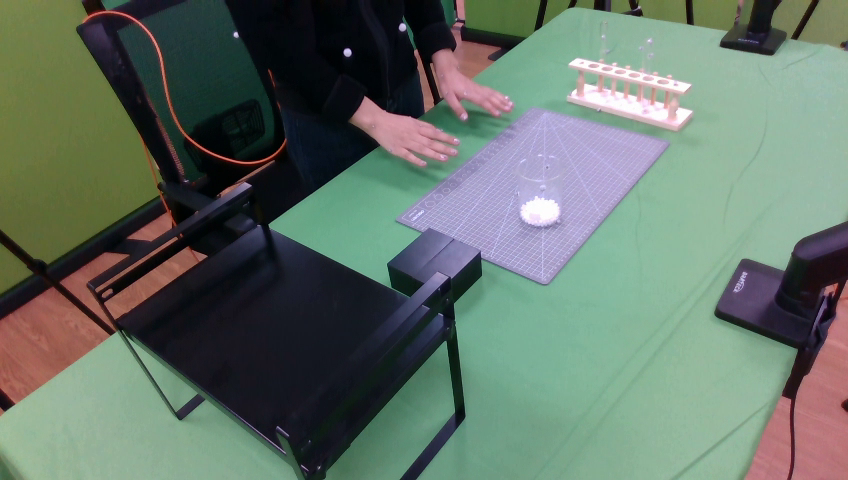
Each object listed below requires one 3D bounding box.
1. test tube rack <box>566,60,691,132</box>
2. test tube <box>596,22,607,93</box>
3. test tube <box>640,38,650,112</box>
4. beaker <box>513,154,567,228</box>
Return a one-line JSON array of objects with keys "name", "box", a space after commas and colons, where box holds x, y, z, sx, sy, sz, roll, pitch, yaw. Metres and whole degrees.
[{"name": "test tube rack", "box": [0.411, -0.299, 1.217, 0.240, 0.085, 0.067, 26, 51, 33]}, {"name": "test tube", "box": [0.363, -0.372, 1.240, 0.017, 0.151, 0.017, -6, 40, 5]}, {"name": "test tube", "box": [0.422, -0.312, 1.154, 0.017, 0.151, 0.017, -9, 39, 8]}, {"name": "beaker", "box": [0.186, -0.077, 0.973, 0.084, 0.101, 0.074, 1, 41, 11]}]
